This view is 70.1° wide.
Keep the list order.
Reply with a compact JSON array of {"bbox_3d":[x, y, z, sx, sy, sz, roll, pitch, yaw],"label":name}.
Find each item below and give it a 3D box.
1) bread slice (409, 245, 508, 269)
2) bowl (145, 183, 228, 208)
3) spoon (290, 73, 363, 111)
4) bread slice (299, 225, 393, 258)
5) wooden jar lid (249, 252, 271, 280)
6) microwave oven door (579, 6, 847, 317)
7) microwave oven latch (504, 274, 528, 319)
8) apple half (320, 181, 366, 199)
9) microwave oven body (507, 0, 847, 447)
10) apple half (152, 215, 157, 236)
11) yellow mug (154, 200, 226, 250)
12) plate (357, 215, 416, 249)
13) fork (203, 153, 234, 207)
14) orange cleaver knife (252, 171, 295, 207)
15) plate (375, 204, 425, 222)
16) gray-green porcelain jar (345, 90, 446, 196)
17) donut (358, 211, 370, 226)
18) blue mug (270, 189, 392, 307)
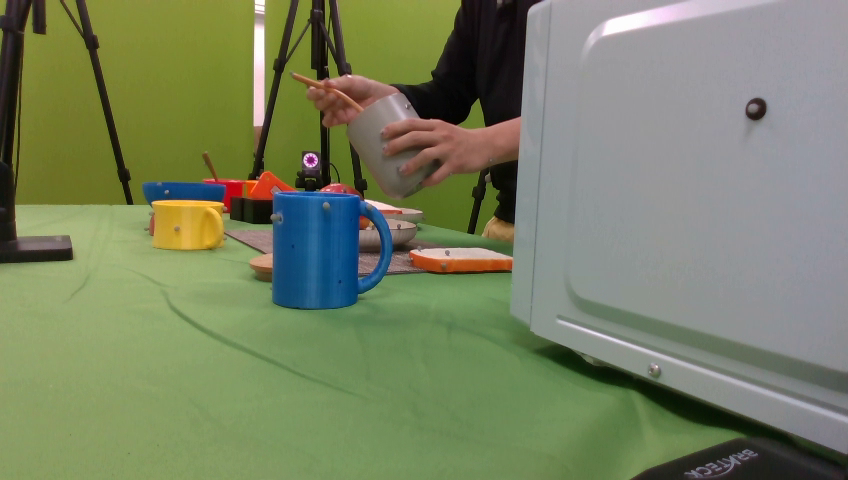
[{"bbox_3d":[0.048,0.021,0.816,0.132,0.019,0.104,0,7,-24],"label":"bread slice"},{"bbox_3d":[-0.459,-0.069,1.175,0.151,0.077,0.151,2,7,0],"label":"bowl"},{"bbox_3d":[-0.125,-0.218,0.924,0.193,0.021,0.042,31,5,15],"label":"spoon"},{"bbox_3d":[-0.118,0.000,0.971,0.106,0.018,0.135,4,18,40],"label":"bread slice"},{"bbox_3d":[-0.148,0.028,0.708,0.108,0.020,0.108,0,10,0],"label":"wooden jar lid"},{"bbox_3d":[0.294,-0.067,0.570,0.358,0.243,0.039,-3,9,-31],"label":"microwave oven door"},{"bbox_3d":[0.100,0.041,0.470,0.079,0.029,0.030,-1,7,-27],"label":"microwave oven latch"},{"bbox_3d":[-0.130,-0.077,0.952,0.081,0.033,0.081,3,14,0],"label":"apple half"},{"bbox_3d":[0.331,-0.042,0.425,0.444,0.260,0.324,-2,8,-31],"label":"microwave oven body"},{"bbox_3d":[-0.415,-0.034,1.017,0.081,0.053,0.074,1,10,-9],"label":"apple half"},{"bbox_3d":[-0.337,-0.023,0.899,0.130,0.064,0.100,8,10,34],"label":"yellow mug"},{"bbox_3d":[-0.116,-0.014,0.967,0.208,0.039,0.207,2,7,0],"label":"plate"},{"bbox_3d":[-0.480,-0.134,1.411,0.028,0.018,0.207,1,-35,0],"label":"fork"},{"bbox_3d":[-0.283,-0.087,1.343,0.212,0.077,0.012,24,-16,-41],"label":"orange cleaver knife"},{"bbox_3d":[-0.102,-0.053,1.299,0.209,0.038,0.209,2,8,0],"label":"plate"},{"bbox_3d":[-0.038,-0.136,0.884,0.106,0.126,0.106,-34,-4,-3],"label":"gray-green porcelain jar"},{"bbox_3d":[-0.132,-0.042,0.959,0.099,0.048,0.099,2,7,0],"label":"donut"},{"bbox_3d":[-0.090,0.005,0.588,0.117,0.106,0.082,1,7,-11],"label":"blue mug"}]
